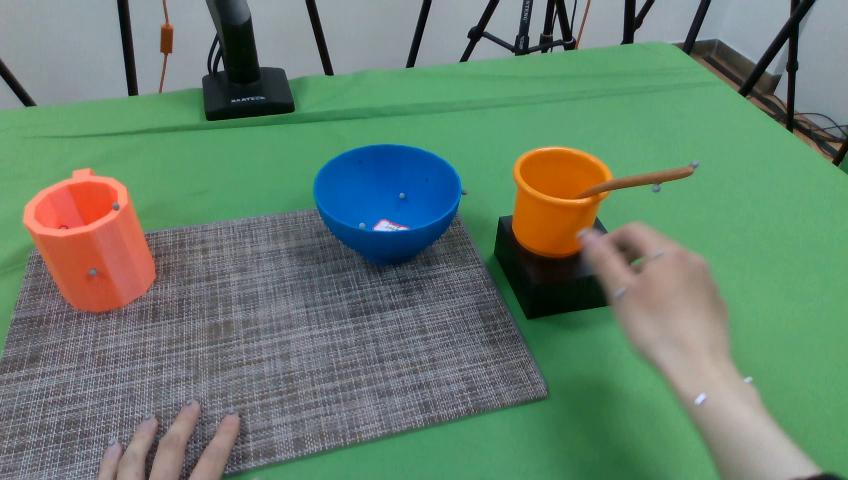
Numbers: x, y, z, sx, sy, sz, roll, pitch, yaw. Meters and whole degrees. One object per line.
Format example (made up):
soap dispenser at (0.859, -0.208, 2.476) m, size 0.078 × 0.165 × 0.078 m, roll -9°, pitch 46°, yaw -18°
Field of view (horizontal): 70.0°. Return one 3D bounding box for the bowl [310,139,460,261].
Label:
bowl at (-0.040, -0.032, 0.632) m, size 0.151 × 0.077 × 0.150 m, roll 2°, pitch 42°, yaw -1°

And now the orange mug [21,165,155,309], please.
orange mug at (-0.317, -0.011, 0.578) m, size 0.084 × 0.101 × 0.125 m, roll -14°, pitch 50°, yaw -18°

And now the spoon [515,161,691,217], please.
spoon at (0.148, -0.045, 0.536) m, size 0.041 × 0.193 × 0.021 m, roll -31°, pitch 96°, yaw -30°
